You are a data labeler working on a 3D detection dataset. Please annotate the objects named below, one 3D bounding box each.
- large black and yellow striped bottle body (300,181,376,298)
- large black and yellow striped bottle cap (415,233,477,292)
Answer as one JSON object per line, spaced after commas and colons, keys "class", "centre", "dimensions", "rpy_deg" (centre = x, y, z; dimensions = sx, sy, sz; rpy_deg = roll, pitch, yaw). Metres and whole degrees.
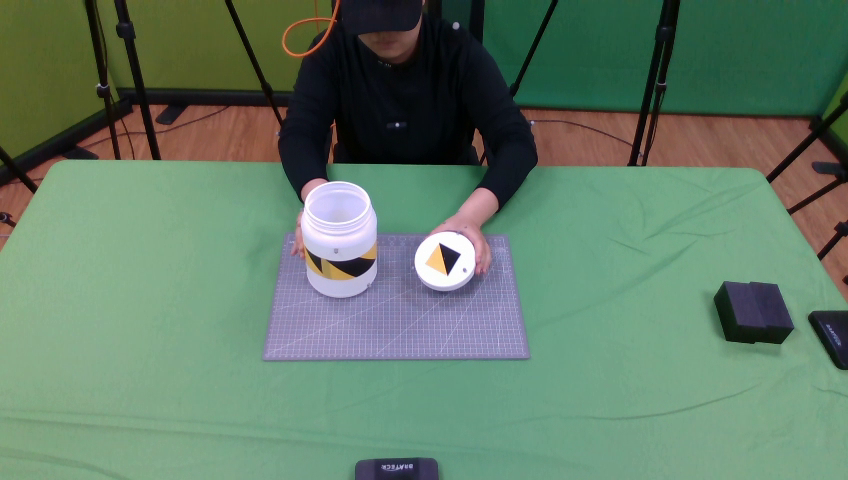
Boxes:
{"class": "large black and yellow striped bottle body", "centre": [-0.150, -0.001, 1.072], "dimensions": [0.131, 0.185, 0.130], "rpy_deg": [2, 46, -2]}
{"class": "large black and yellow striped bottle cap", "centre": [0.040, 0.039, 1.107], "dimensions": [0.115, 0.019, 0.114], "rpy_deg": [-5, 60, 9]}
